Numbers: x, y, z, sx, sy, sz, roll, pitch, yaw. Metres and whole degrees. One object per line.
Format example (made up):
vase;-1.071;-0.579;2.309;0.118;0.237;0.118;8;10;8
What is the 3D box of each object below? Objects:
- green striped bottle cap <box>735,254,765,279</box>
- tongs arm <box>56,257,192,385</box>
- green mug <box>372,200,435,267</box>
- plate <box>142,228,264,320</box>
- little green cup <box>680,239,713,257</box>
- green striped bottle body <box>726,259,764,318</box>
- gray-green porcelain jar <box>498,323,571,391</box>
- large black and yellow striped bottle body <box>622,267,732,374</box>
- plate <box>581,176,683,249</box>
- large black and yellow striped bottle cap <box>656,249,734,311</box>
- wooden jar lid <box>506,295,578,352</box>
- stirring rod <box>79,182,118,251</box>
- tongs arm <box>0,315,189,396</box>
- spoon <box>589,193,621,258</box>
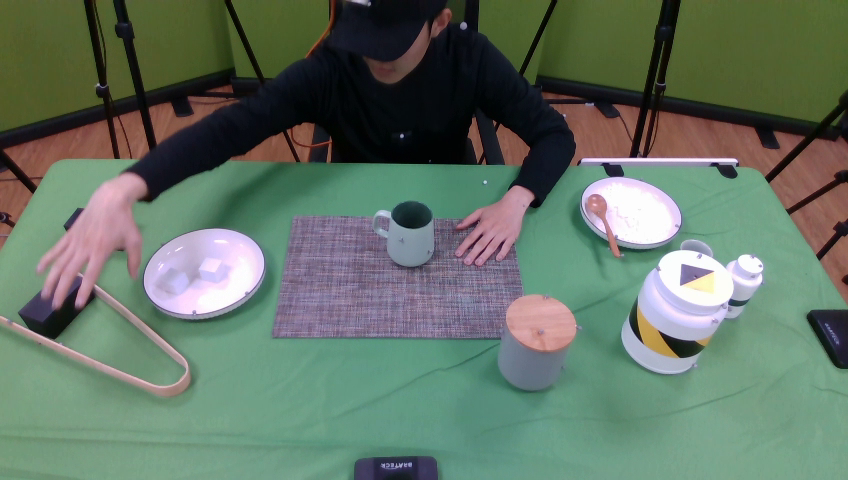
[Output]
green striped bottle cap;0.566;0.046;1.051;0.044;0.020;0.044;0;45;0
tongs arm;-0.517;0.127;1.034;0.386;0.028;0.028;30;42;23
green mug;-0.040;-0.016;1.146;0.125;0.105;0.092;17;48;13
plate;-0.394;0.064;1.095;0.208;0.039;0.206;2;46;-2
little green cup;0.530;0.033;1.189;0.061;0.039;0.061;2;48;-3
green striped bottle body;0.563;0.081;1.089;0.063;0.120;0.063;2;46;-2
gray-green porcelain jar;0.176;0.172;0.971;0.106;0.127;0.105;2;46;-2
large black and yellow striped bottle body;0.415;0.119;0.997;0.131;0.185;0.130;2;46;-2
plate;0.430;-0.054;1.267;0.209;0.038;0.208;2;46;-2
large black and yellow striped bottle cap;0.419;0.061;0.938;0.115;0.019;0.114;2;47;-2
wooden jar lid;0.179;0.130;0.925;0.108;0.021;0.107;2;43;-2
stirring rod;-0.605;-0.047;1.130;0.006;0.014;0.175;0;47;1
tongs arm;-0.555;0.170;0.982;0.384;0.026;0.050;21;42;15
spoon;0.367;-0.032;1.220;0.041;0.022;0.192;1;38;-1
